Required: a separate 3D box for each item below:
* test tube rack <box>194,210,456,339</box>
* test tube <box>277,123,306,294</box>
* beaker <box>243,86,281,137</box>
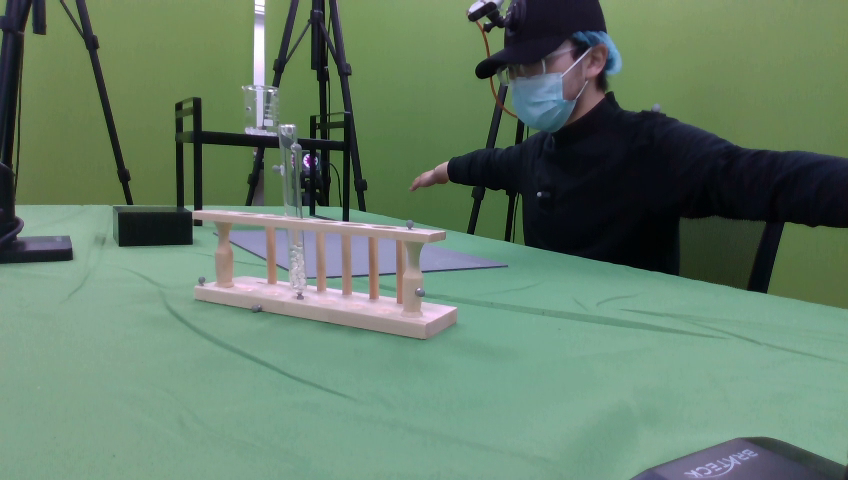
[{"bbox_3d":[-0.093,0.023,0.546,0.241,0.085,0.067,6,8,25],"label":"test tube rack"},{"bbox_3d":[-0.116,-0.027,0.530,0.017,0.150,0.017,-2,9,1],"label":"test tube"},{"bbox_3d":[-0.338,-0.265,1.253,0.073,0.100,0.084,8,9,38],"label":"beaker"}]
